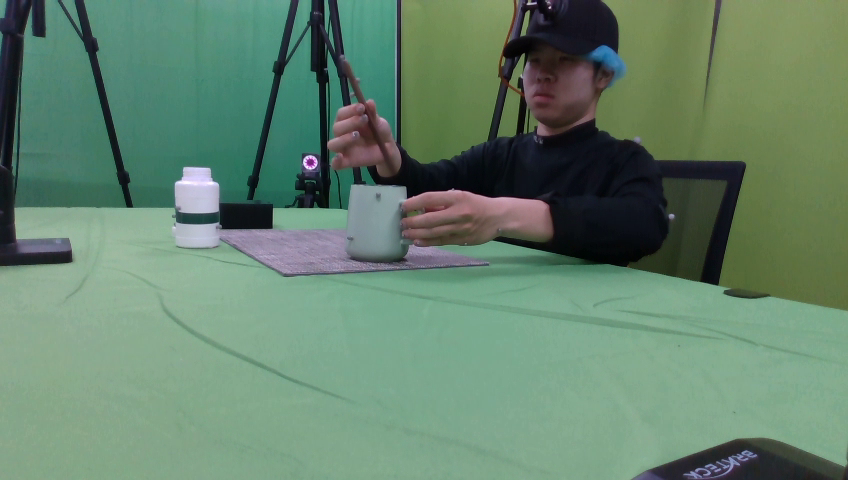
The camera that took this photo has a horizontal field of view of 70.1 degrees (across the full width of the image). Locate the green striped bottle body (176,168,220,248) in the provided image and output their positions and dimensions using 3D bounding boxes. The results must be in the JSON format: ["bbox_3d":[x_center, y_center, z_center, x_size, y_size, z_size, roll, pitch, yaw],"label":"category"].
[{"bbox_3d":[-0.345,-0.050,0.924,0.063,0.119,0.063,2,7,0],"label":"green striped bottle body"}]

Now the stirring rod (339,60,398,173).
[{"bbox_3d":[-0.079,-0.176,0.871,0.006,0.176,0.014,-37,19,-35],"label":"stirring rod"}]

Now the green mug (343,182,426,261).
[{"bbox_3d":[-0.053,-0.026,0.848,0.125,0.105,0.093,6,8,29],"label":"green mug"}]

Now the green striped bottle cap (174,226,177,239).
[{"bbox_3d":[-0.404,-0.015,1.036,0.044,0.020,0.044,-1,9,0],"label":"green striped bottle cap"}]
